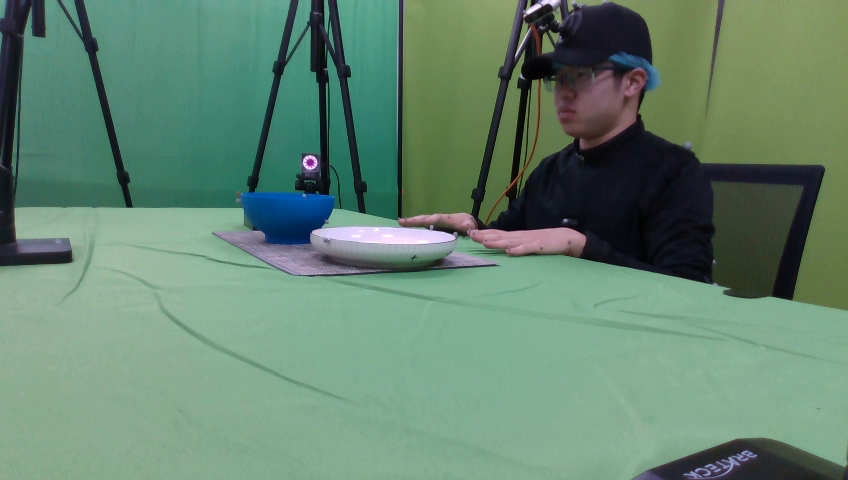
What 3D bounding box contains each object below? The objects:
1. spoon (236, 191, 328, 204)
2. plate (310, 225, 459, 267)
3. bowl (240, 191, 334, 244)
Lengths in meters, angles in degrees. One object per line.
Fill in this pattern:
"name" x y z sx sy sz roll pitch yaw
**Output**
"spoon" -0.283 -0.085 1.222 0.195 0.021 0.041 -1 8 -34
"plate" -0.055 0.008 0.851 0.208 0.039 0.207 2 7 0
"bowl" -0.224 -0.037 0.993 0.151 0.077 0.151 3 7 0
